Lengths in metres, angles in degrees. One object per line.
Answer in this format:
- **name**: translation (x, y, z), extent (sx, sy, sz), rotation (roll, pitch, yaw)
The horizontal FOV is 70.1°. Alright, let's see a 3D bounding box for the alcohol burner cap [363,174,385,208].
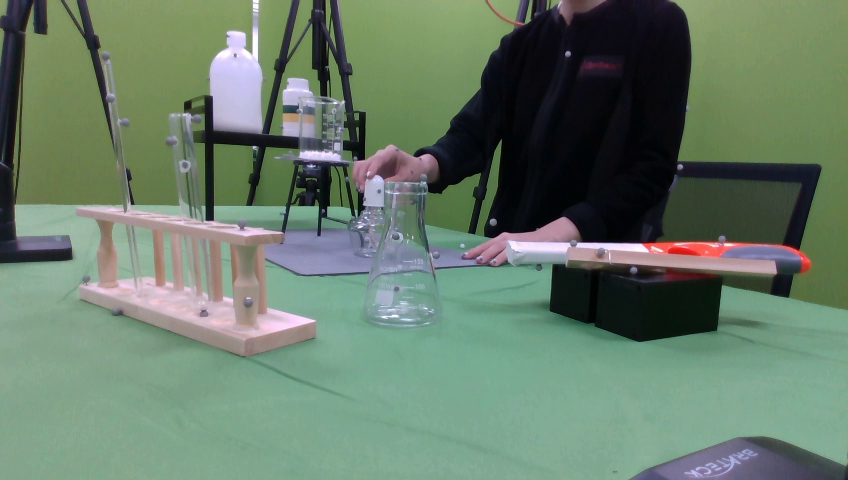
- **alcohol burner cap**: translation (-0.071, -0.070, 0.861), extent (0.034, 0.048, 0.034), rotation (2, 7, 0)

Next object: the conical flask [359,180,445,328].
- **conical flask**: translation (-0.017, 0.010, 0.522), extent (0.075, 0.122, 0.075), rotation (2, 7, 0)

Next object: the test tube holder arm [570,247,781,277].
- **test tube holder arm**: translation (0.217, 0.019, 0.524), extent (0.178, 0.015, 0.013), rotation (3, -23, 3)

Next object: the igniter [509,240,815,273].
- **igniter**: translation (0.220, 0.015, 0.566), extent (0.277, 0.025, 0.057), rotation (2, 16, 0)

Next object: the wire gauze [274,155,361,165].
- **wire gauze**: translation (-0.174, -0.129, 0.978), extent (0.125, 0.011, 0.121), rotation (-2, 6, -19)

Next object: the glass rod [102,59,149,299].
- **glass rod**: translation (-0.244, -0.045, 0.496), extent (0.008, 0.199, 0.008), rotation (-3, 12, 1)

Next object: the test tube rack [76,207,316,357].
- **test tube rack**: translation (-0.196, 0.023, 0.500), extent (0.241, 0.085, 0.067), rotation (8, 9, 36)

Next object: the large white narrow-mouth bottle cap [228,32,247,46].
- **large white narrow-mouth bottle cap**: translation (-0.364, -0.391, 1.180), extent (0.038, 0.024, 0.037), rotation (3, 8, 0)

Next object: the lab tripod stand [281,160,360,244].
- **lab tripod stand**: translation (-0.170, -0.063, 0.983), extent (0.148, 0.131, 0.148), rotation (1, 7, 0)

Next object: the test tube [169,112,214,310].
- **test tube**: translation (-0.175, -0.020, 0.455), extent (0.017, 0.150, 0.017), rotation (-3, 9, 1)

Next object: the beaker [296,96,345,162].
- **beaker**: translation (-0.163, -0.175, 0.966), extent (0.083, 0.100, 0.074), rotation (7, 8, 34)

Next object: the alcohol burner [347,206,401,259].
- **alcohol burner**: translation (-0.071, -0.034, 0.867), extent (0.078, 0.119, 0.078), rotation (0, 7, 0)

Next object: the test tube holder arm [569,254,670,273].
- **test tube holder arm**: translation (0.172, 0.019, 0.532), extent (0.088, 0.015, 0.010), rotation (3, -23, 4)

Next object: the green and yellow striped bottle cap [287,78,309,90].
- **green and yellow striped bottle cap**: translation (-0.265, -0.326, 1.268), extent (0.045, 0.020, 0.045), rotation (4, 6, 0)

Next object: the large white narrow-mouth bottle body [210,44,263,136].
- **large white narrow-mouth bottle body**: translation (-0.369, -0.305, 1.194), extent (0.102, 0.194, 0.102), rotation (3, 8, 0)

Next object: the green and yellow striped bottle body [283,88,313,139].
- **green and yellow striped bottle body**: translation (-0.265, -0.275, 1.275), extent (0.063, 0.119, 0.063), rotation (3, 7, 0)
